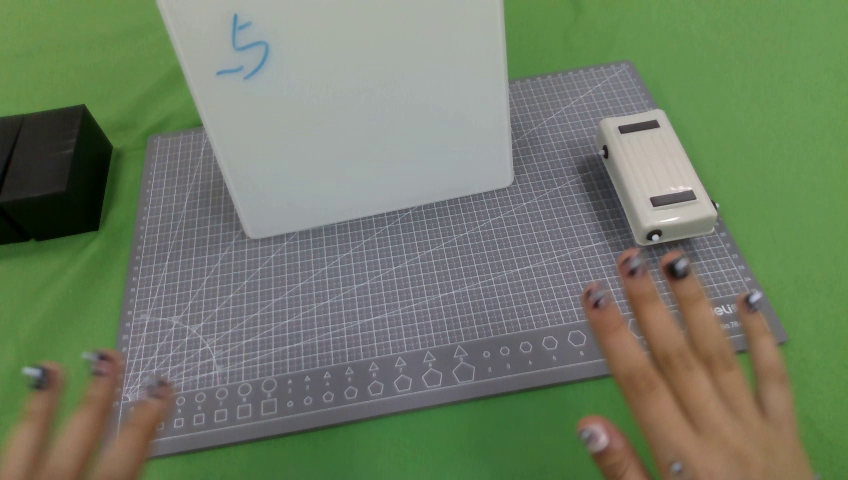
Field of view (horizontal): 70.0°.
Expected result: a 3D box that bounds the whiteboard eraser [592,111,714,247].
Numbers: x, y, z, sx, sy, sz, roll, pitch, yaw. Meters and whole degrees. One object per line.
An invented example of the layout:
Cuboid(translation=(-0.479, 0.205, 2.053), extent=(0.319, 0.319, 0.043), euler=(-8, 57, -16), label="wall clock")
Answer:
Cuboid(translation=(0.170, -0.046, 0.459), extent=(0.055, 0.042, 0.111), euler=(-8, 54, -2), label="whiteboard eraser")

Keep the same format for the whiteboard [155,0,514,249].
Cuboid(translation=(-0.063, -0.177, 0.446), extent=(0.217, 0.308, 0.142), euler=(-11, 35, -3), label="whiteboard")
